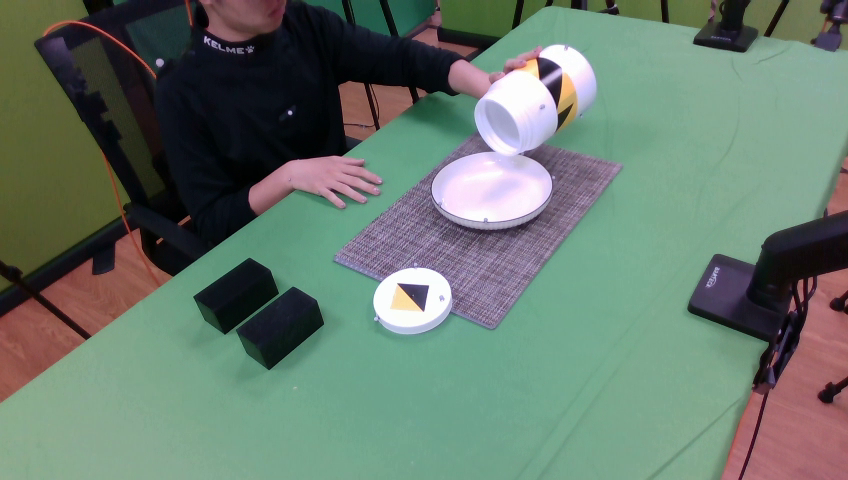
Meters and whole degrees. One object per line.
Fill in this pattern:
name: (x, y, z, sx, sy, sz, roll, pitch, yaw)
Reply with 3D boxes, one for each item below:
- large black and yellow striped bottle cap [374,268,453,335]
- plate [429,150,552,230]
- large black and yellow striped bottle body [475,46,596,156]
large black and yellow striped bottle cap: (-0.015, 0.087, 0.871, 0.115, 0.019, 0.114, -6, 43, 6)
plate: (0.113, -0.082, 1.032, 0.207, 0.039, 0.206, -4, 41, 4)
large black and yellow striped bottle body: (0.188, -0.235, 1.031, 0.184, 0.131, 0.129, -37, 48, -23)
